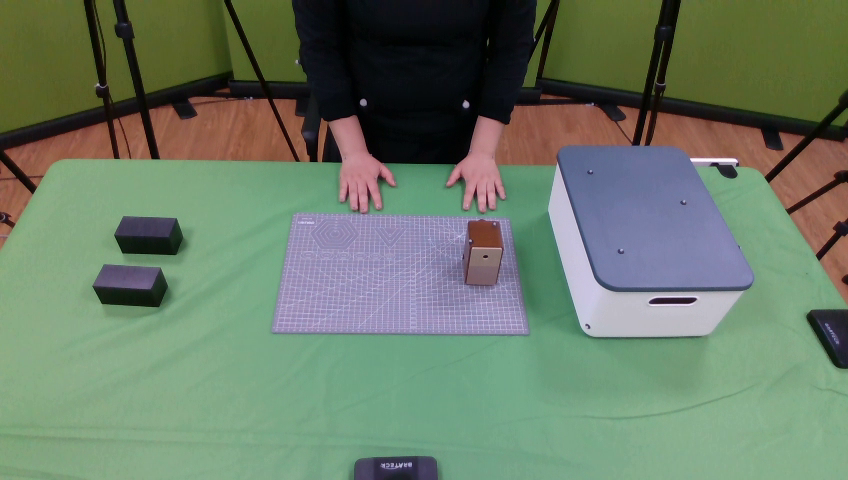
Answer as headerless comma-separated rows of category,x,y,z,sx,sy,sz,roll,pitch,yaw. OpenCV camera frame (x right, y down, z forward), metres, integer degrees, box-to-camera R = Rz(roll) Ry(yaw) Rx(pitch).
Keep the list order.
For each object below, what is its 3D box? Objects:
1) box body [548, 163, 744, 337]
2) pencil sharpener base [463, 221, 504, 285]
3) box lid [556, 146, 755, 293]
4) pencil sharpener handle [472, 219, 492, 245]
box body,0.391,-0.001,1.130,0.254,0.161,0.361,-1,46,-4
pencil sharpener base,0.107,0.024,1.119,0.061,0.107,0.076,1,45,-2
box lid,0.394,-0.051,1.076,0.263,0.015,0.369,0,46,-4
pencil sharpener handle,0.105,-0.021,1.146,0.036,0.068,0.030,7,44,-8
